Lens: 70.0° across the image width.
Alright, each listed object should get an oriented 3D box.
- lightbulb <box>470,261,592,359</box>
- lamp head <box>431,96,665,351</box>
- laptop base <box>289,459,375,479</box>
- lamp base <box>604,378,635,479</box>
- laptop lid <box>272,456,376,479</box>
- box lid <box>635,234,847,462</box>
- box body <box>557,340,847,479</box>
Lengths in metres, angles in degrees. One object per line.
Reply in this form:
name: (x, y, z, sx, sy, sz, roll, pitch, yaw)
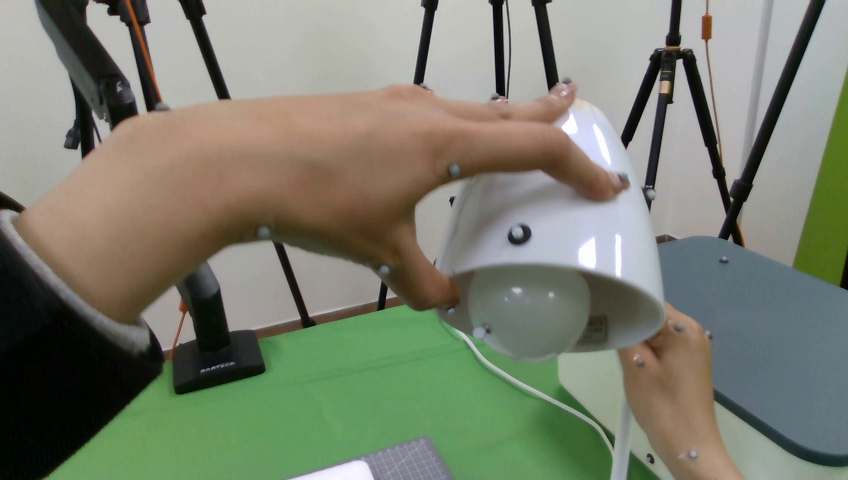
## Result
lightbulb: (0.058, 0.007, 0.308, 0.059, 0.060, 0.107, 6, 67, 21)
lamp head: (0.067, -0.012, 0.321, 0.112, 0.113, 0.122, 3, 56, 15)
laptop base: (-0.188, 0.313, 0.501, 0.355, 0.023, 0.233, -11, 27, -18)
lamp base: (0.137, 0.212, 0.489, 0.159, 0.181, 0.179, 10, 22, 27)
laptop lid: (-0.188, 0.302, 0.494, 0.358, 0.013, 0.239, -10, 25, -16)
box lid: (0.331, 0.076, 0.626, 0.264, 0.015, 0.367, -11, 24, -20)
box body: (0.335, 0.145, 0.653, 0.255, 0.161, 0.360, -12, 24, -20)
